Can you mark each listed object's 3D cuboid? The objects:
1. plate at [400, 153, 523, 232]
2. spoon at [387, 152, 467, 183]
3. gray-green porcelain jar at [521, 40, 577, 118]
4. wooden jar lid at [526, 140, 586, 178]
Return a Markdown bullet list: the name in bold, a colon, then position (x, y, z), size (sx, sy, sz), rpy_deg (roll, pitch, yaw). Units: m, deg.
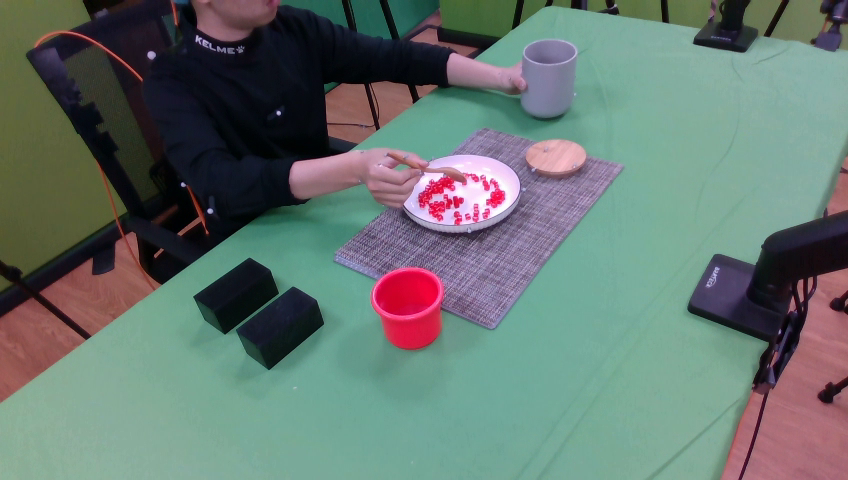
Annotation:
- **plate**: position (0.065, -0.078, 1.034), size (0.207, 0.039, 0.206), rpy_deg (-4, 41, 4)
- **spoon**: position (0.007, -0.114, 0.965), size (0.041, 0.021, 0.195), rpy_deg (16, 7, 37)
- **gray-green porcelain jar**: position (0.247, -0.317, 1.212), size (0.106, 0.127, 0.105), rpy_deg (-3, 45, 3)
- **wooden jar lid**: position (0.240, -0.147, 1.103), size (0.108, 0.021, 0.108), rpy_deg (-4, 42, 4)
